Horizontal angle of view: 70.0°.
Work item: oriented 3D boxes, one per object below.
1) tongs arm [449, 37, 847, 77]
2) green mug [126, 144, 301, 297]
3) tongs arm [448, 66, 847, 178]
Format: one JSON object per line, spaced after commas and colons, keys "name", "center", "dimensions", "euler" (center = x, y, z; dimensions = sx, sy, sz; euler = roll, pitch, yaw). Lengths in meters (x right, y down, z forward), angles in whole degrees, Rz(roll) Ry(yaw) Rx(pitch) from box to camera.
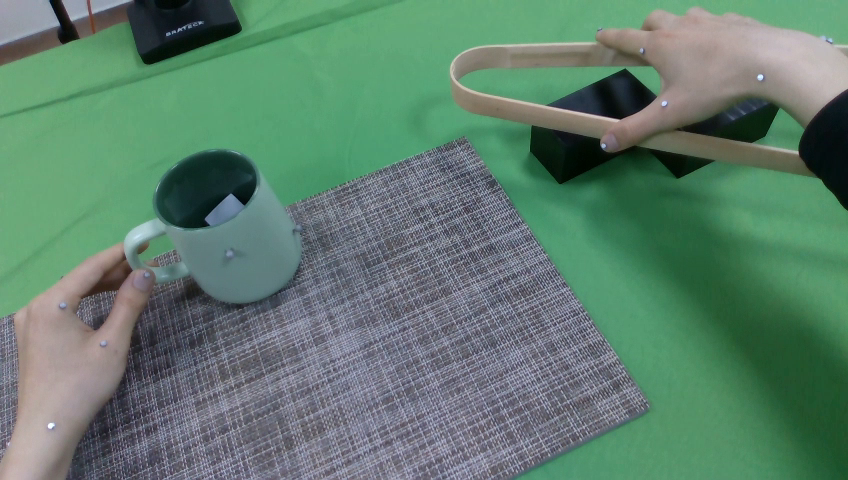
{"name": "tongs arm", "center": [0.216, -0.155, 0.532], "dimensions": [0.384, 0.027, 0.050], "euler": [5, 59, 9]}
{"name": "green mug", "center": [-0.169, -0.006, 0.482], "dimensions": [0.125, 0.106, 0.091], "euler": [-24, 58, -10]}
{"name": "tongs arm", "center": [0.198, -0.092, 0.492], "dimensions": [0.386, 0.028, 0.028], "euler": [15, 65, 15]}
